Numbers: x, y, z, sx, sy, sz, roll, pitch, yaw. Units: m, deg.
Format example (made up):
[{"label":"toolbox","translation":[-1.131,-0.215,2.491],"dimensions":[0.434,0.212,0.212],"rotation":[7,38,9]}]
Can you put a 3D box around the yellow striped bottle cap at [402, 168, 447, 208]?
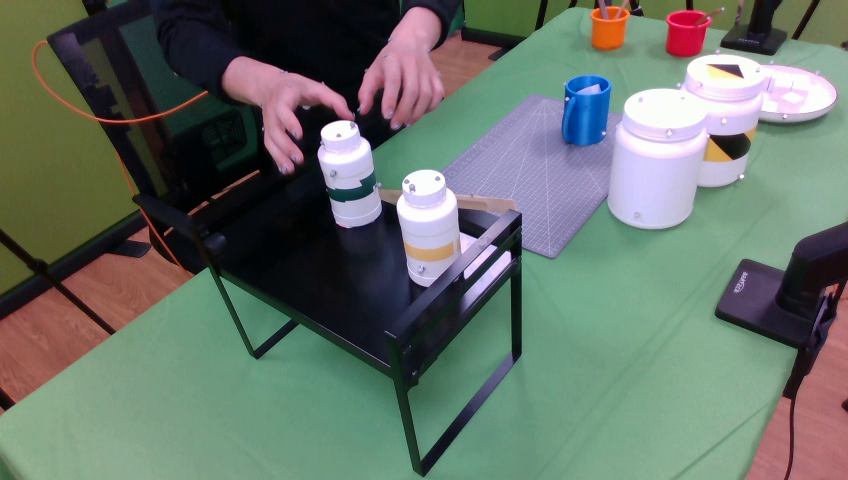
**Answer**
[{"label":"yellow striped bottle cap","translation":[0.000,-0.052,0.605],"dimensions":[0.044,0.019,0.044],"rotation":[-4,43,5]}]

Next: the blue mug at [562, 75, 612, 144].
[{"label":"blue mug","translation":[0.298,-0.239,1.143],"dimensions":[0.081,0.106,0.117],"rotation":[30,54,35]}]

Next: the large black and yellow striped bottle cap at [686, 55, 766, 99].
[{"label":"large black and yellow striped bottle cap","translation":[0.474,-0.258,0.952],"dimensions":[0.115,0.019,0.114],"rotation":[-5,41,5]}]

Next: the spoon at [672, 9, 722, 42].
[{"label":"spoon","translation":[0.606,-0.476,1.345],"dimensions":[0.042,0.021,0.193],"rotation":[-6,-3,-2]}]

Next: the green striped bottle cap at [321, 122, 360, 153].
[{"label":"green striped bottle cap","translation":[-0.097,-0.119,0.699],"dimensions":[0.044,0.020,0.044],"rotation":[-5,37,4]}]

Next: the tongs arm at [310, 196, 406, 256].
[{"label":"tongs arm","translation":[-0.078,-0.012,0.943],"dimensions":[0.028,0.028,0.384],"rotation":[-43,39,-23]}]

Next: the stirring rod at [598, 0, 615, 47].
[{"label":"stirring rod","translation":[0.437,-0.551,1.462],"dimensions":[0.014,0.006,0.175],"rotation":[-11,83,1]}]

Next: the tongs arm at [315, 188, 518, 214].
[{"label":"tongs arm","translation":[-0.028,-0.060,0.988],"dimensions":[0.382,0.027,0.051],"rotation":[9,45,36]}]

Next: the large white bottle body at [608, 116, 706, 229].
[{"label":"large white bottle body","translation":[0.361,-0.123,0.942],"dimensions":[0.130,0.185,0.130],"rotation":[-5,41,5]}]

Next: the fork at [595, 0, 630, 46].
[{"label":"fork","translation":[0.479,-0.556,1.452],"dimensions":[0.028,0.019,0.207],"rotation":[41,103,39]}]

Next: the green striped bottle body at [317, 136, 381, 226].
[{"label":"green striped bottle body","translation":[-0.091,-0.080,0.733],"dimensions":[0.063,0.120,0.063],"rotation":[-4,41,4]}]

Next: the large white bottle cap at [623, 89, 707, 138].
[{"label":"large white bottle cap","translation":[0.352,-0.187,0.886],"dimensions":[0.115,0.018,0.114],"rotation":[-4,41,4]}]

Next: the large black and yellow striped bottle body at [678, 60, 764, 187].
[{"label":"large black and yellow striped bottle body","translation":[0.482,-0.196,1.007],"dimensions":[0.131,0.185,0.130],"rotation":[-4,41,4]}]

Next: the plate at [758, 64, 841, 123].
[{"label":"plate","translation":[0.694,-0.283,1.189],"dimensions":[0.207,0.039,0.206],"rotation":[-4,40,4]}]

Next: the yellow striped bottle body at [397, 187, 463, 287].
[{"label":"yellow striped bottle body","translation":[0.007,-0.013,0.638],"dimensions":[0.063,0.121,0.062],"rotation":[-5,41,4]}]
